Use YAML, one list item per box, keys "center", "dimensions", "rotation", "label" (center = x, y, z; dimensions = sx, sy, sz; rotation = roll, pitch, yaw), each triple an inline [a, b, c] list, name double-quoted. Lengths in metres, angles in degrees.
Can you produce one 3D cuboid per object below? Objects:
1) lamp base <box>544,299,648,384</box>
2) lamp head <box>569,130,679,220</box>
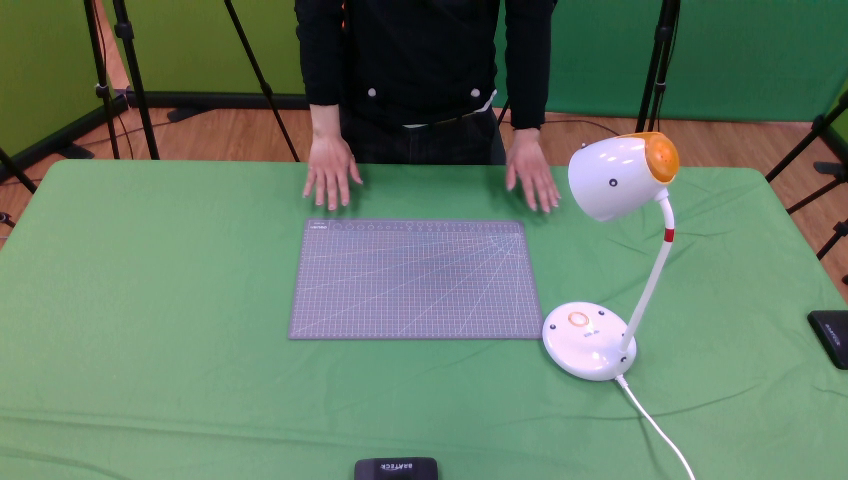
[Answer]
- center: [0.299, 0.124, 0.984]
  dimensions: [0.161, 0.181, 0.178]
  rotation: [-23, 55, -23]
  label: "lamp base"
- center: [0.272, -0.090, 0.798]
  dimensions: [0.113, 0.122, 0.112]
  rotation: [7, 78, -33]
  label: "lamp head"
